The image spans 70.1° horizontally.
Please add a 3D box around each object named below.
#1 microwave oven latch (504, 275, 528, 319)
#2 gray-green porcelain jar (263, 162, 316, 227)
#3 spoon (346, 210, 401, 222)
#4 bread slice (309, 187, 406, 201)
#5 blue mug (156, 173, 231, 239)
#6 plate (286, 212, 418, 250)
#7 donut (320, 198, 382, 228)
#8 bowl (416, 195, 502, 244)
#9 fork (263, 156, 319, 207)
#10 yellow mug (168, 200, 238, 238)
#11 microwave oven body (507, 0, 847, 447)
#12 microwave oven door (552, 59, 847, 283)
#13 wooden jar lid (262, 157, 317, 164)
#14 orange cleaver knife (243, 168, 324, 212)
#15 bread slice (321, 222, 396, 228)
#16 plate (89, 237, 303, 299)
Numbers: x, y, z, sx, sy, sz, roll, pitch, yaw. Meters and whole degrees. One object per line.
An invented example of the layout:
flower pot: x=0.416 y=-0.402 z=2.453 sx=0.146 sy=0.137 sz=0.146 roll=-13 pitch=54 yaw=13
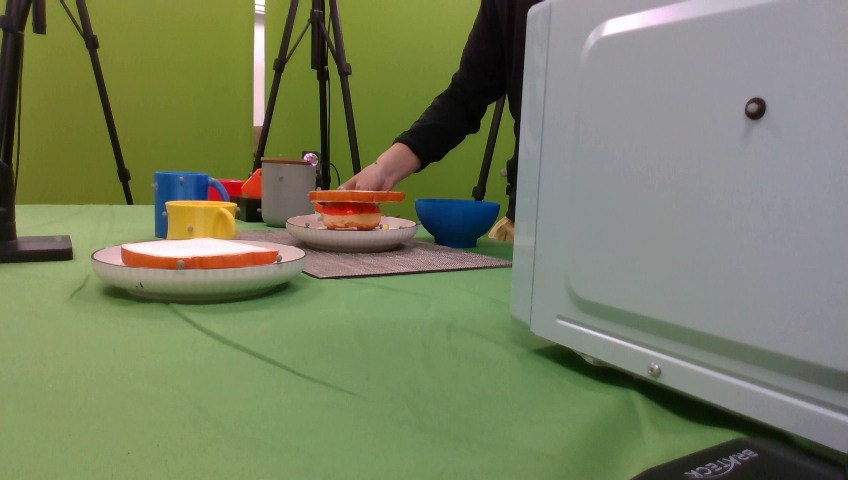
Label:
microwave oven latch: x=0.100 y=0.042 z=0.471 sx=0.079 sy=0.029 sz=0.030 roll=-1 pitch=7 yaw=-28
gray-green porcelain jar: x=-0.271 y=-0.092 z=1.217 sx=0.106 sy=0.126 sz=0.106 roll=2 pitch=7 yaw=0
spoon: x=-0.121 y=-0.060 z=1.400 sx=0.042 sy=0.021 sz=0.192 roll=-28 pitch=25 yaw=-37
bread slice: x=-0.112 y=-0.072 z=0.950 sx=0.134 sy=0.018 sz=0.107 roll=0 pitch=3 yaw=23
blue mug: x=-0.381 y=-0.057 z=1.004 sx=0.117 sy=0.106 sz=0.082 roll=0 pitch=8 yaw=-12
plate: x=-0.114 y=-0.016 z=0.964 sx=0.209 sy=0.038 sz=0.209 roll=2 pitch=9 yaw=0
donut: x=-0.116 y=-0.044 z=0.964 sx=0.099 sy=0.048 sz=0.099 roll=-9 pitch=-5 yaw=0
bowl: x=0.059 y=-0.035 z=1.049 sx=0.151 sy=0.077 sz=0.151 roll=2 pitch=7 yaw=0
fork: x=-0.331 y=-0.144 z=1.506 sx=0.207 sy=0.018 sz=0.028 roll=-42 pitch=-20 yaw=22
yellow mug: x=-0.320 y=-0.023 z=0.904 sx=0.130 sy=0.064 sz=0.100 roll=9 pitch=10 yaw=36
microwave oven body: x=0.331 y=-0.042 z=0.426 sx=0.444 sy=0.260 sz=0.324 roll=-2 pitch=8 yaw=-31
microwave oven door: x=0.328 y=-0.092 z=0.780 sx=0.039 sy=0.243 sz=0.354 roll=-5 pitch=10 yaw=-42
wooden jar lid: x=-0.269 y=-0.154 z=1.208 sx=0.108 sy=0.020 sz=0.108 roll=3 pitch=4 yaw=0
orange cleaver knife: x=-0.300 y=-0.089 z=1.351 sx=0.212 sy=0.077 sz=0.012 roll=28 pitch=-9 yaw=-34
bread slice: x=-0.102 y=-0.013 z=0.960 sx=0.131 sy=0.019 sz=0.105 roll=4 pitch=10 yaw=25
plate: x=-0.233 y=0.029 z=0.637 sx=0.208 sy=0.039 sz=0.207 roll=2 pitch=7 yaw=0
